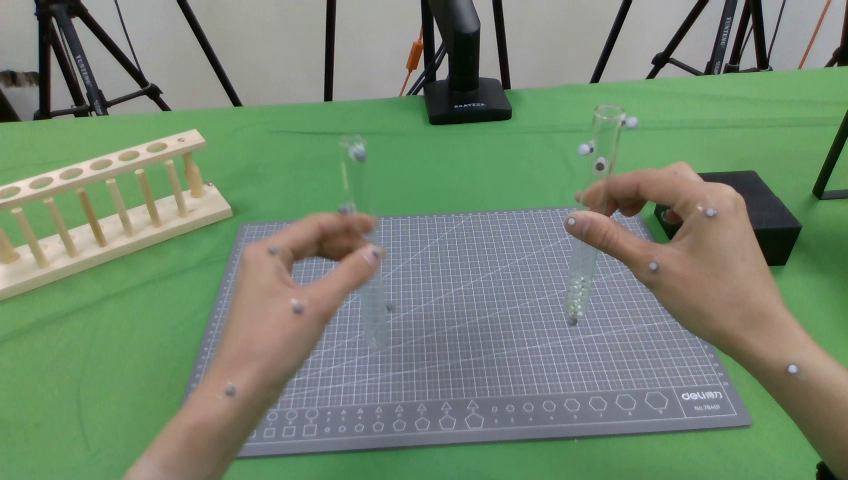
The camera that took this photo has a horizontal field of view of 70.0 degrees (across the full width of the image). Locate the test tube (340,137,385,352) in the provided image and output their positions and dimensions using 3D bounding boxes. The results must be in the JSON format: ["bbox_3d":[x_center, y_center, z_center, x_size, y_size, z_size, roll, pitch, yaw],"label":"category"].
[{"bbox_3d":[-0.037,0.009,0.375,0.017,0.151,0.017,-2,30,1],"label":"test tube"}]

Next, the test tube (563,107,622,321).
[{"bbox_3d":[0.097,-0.008,0.358,0.017,0.151,0.017,-1,39,2],"label":"test tube"}]

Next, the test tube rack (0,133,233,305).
[{"bbox_3d":[-0.340,-0.029,0.644,0.243,0.086,0.066,-24,43,-25],"label":"test tube rack"}]
